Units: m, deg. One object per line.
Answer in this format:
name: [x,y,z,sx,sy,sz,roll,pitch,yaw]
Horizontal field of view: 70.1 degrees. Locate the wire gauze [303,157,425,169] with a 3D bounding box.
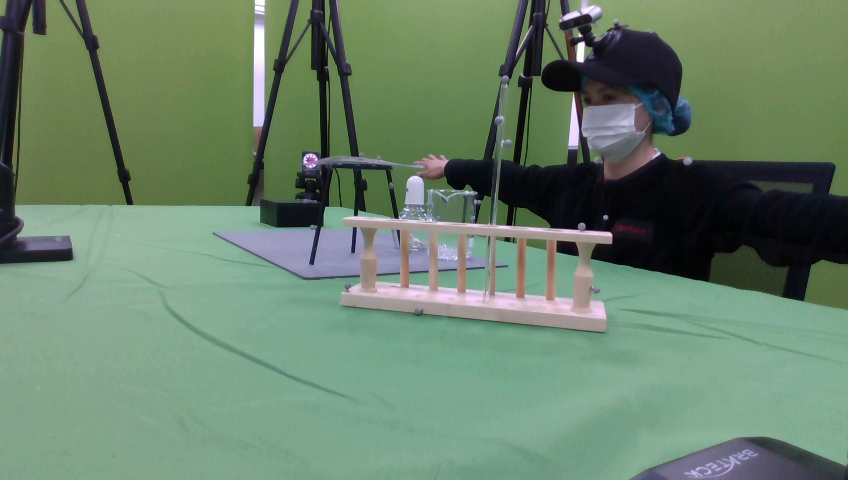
wire gauze: [-0.082,-0.102,0.799,0.126,0.011,0.121,-1,7,-30]

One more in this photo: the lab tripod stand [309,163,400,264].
lab tripod stand: [-0.091,-0.037,0.813,0.148,0.131,0.148,1,6,0]

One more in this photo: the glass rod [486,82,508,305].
glass rod: [0.064,-0.035,0.528,0.008,0.199,0.008,2,13,0]

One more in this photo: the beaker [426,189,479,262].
beaker: [0.039,-0.022,0.871,0.074,0.100,0.084,4,8,12]

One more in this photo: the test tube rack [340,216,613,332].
test tube rack: [0.048,0.026,0.568,0.242,0.085,0.067,4,8,13]

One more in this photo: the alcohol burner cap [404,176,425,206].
alcohol burner cap: [-0.015,-0.077,0.951,0.034,0.048,0.034,3,4,0]

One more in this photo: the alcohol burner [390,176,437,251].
alcohol burner: [-0.016,-0.042,0.955,0.078,0.119,0.078,4,5,0]
